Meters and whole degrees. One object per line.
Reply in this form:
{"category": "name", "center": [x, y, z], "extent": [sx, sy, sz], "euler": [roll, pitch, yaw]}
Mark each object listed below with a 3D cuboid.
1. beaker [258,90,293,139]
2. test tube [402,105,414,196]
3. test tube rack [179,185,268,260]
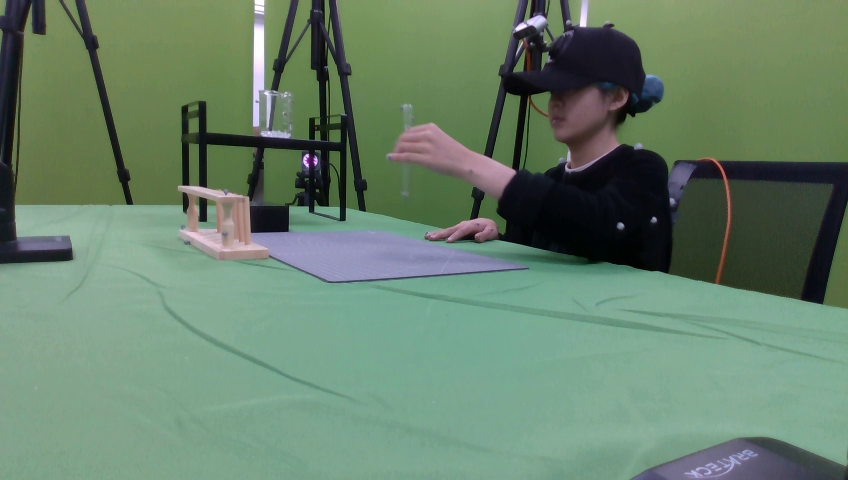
{"category": "beaker", "center": [-0.324, -0.274, 1.326], "extent": [0.074, 0.100, 0.083], "euler": [-2, 10, -33]}
{"category": "test tube", "center": [-0.026, -0.149, 1.011], "extent": [0.017, 0.150, 0.017], "euler": [2, 5, 0]}
{"category": "test tube rack", "center": [-0.303, -0.031, 0.898], "extent": [0.067, 0.085, 0.241], "euler": [-2, 8, -33]}
